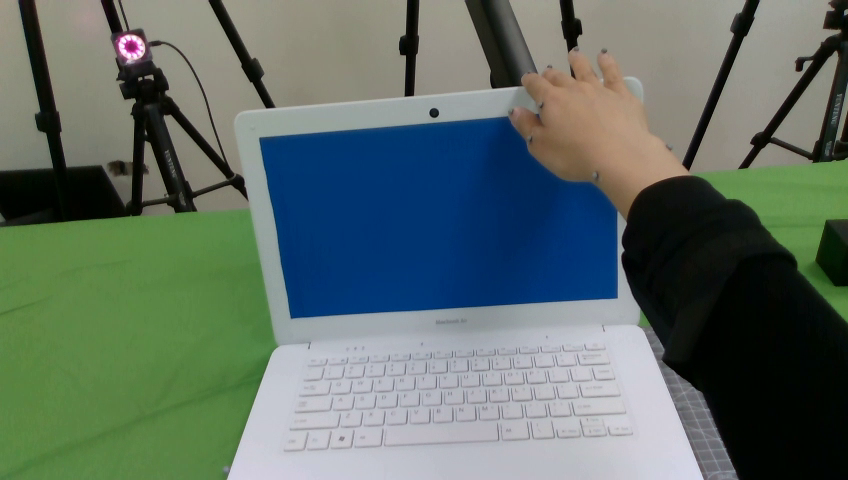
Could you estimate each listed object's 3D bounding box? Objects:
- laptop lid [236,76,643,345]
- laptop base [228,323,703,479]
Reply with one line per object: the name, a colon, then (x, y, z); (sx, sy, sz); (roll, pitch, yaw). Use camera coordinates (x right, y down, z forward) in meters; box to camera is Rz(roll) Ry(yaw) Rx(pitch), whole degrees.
laptop lid: (0.018, -0.015, 0.552); (0.356, 0.243, 0.013); (-6, 18, 5)
laptop base: (0.025, 0.159, 0.488); (0.354, 0.023, 0.233); (-4, 35, 4)
